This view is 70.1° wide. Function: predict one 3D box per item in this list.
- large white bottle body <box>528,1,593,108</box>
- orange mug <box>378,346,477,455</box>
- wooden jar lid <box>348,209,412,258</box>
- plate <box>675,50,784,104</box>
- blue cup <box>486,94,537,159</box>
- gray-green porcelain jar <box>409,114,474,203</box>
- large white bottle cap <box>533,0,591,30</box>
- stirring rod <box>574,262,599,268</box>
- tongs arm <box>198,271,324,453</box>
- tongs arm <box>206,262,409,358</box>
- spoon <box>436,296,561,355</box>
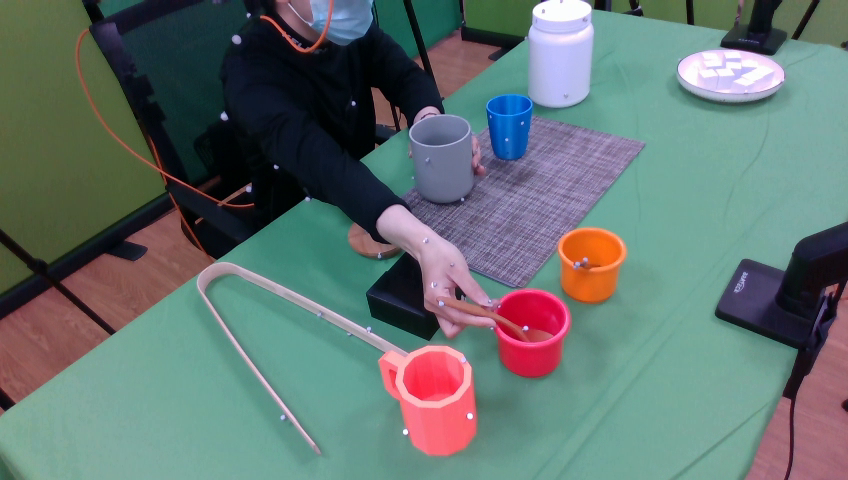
[{"bbox_3d":[0.283,-0.386,1.259,0.130,0.185,0.130,-5,41,5],"label":"large white bottle body"},{"bbox_3d":[0.002,0.179,0.708,0.125,0.101,0.083,25,50,27],"label":"orange mug"},{"bbox_3d":[-0.071,-0.009,0.997,0.108,0.021,0.108,-5,43,5],"label":"wooden jar lid"},{"bbox_3d":[0.632,-0.336,1.262,0.207,0.039,0.206,-4,41,4],"label":"plate"},{"bbox_3d":[0.161,-0.208,1.129,0.092,0.100,0.092,-4,39,4],"label":"blue cup"},{"bbox_3d":[0.033,-0.137,1.045,0.106,0.127,0.105,-4,41,4],"label":"gray-green porcelain jar"},{"bbox_3d":[0.274,-0.449,1.204,0.115,0.018,0.114,-4,41,4],"label":"large white bottle cap"},{"bbox_3d":[0.221,0.033,0.817,0.014,0.006,0.177,9,1,22],"label":"stirring rod"},{"bbox_3d":[-0.236,0.153,0.830,0.028,0.028,0.384,-36,48,-18],"label":"tongs arm"},{"bbox_3d":[-0.179,0.106,0.870,0.382,0.026,0.051,24,54,32],"label":"tongs arm"},{"bbox_3d":[0.095,0.102,0.750,0.195,0.021,0.041,28,30,-28],"label":"spoon"}]
